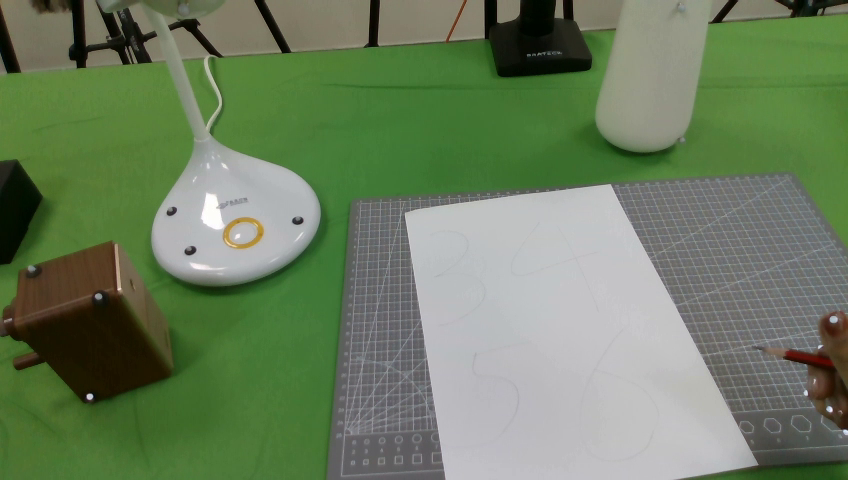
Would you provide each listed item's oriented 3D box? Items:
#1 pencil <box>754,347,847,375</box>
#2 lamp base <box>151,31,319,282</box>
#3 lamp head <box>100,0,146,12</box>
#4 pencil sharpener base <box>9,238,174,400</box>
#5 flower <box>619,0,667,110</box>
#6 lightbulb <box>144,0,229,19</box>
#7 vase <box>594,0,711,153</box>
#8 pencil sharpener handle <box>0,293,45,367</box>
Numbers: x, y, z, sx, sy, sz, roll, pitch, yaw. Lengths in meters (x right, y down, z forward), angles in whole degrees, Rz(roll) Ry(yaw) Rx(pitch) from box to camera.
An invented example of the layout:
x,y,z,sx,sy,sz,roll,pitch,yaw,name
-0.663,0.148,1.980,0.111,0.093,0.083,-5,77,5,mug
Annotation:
x,y,z,sx,sy,sz,roll,pitch,yaw,name
0.283,0.081,0.326,0.192,0.012,0.012,9,43,43,pencil
-0.194,-0.081,0.544,0.161,0.182,0.177,-27,48,-20,lamp base
-0.148,-0.196,0.314,0.112,0.124,0.111,-24,21,10,lamp head
-0.248,0.063,0.459,0.077,0.108,0.060,-19,48,-13,pencil sharpener base
0.218,-0.229,0.530,0.044,0.364,0.038,38,72,18,flower
-0.138,-0.173,0.318,0.059,0.108,0.059,-14,24,7,lightbulb
0.228,-0.187,0.604,0.098,0.202,0.097,-3,45,3,vase
-0.296,0.070,0.439,0.031,0.068,0.035,-19,51,-13,pencil sharpener handle
